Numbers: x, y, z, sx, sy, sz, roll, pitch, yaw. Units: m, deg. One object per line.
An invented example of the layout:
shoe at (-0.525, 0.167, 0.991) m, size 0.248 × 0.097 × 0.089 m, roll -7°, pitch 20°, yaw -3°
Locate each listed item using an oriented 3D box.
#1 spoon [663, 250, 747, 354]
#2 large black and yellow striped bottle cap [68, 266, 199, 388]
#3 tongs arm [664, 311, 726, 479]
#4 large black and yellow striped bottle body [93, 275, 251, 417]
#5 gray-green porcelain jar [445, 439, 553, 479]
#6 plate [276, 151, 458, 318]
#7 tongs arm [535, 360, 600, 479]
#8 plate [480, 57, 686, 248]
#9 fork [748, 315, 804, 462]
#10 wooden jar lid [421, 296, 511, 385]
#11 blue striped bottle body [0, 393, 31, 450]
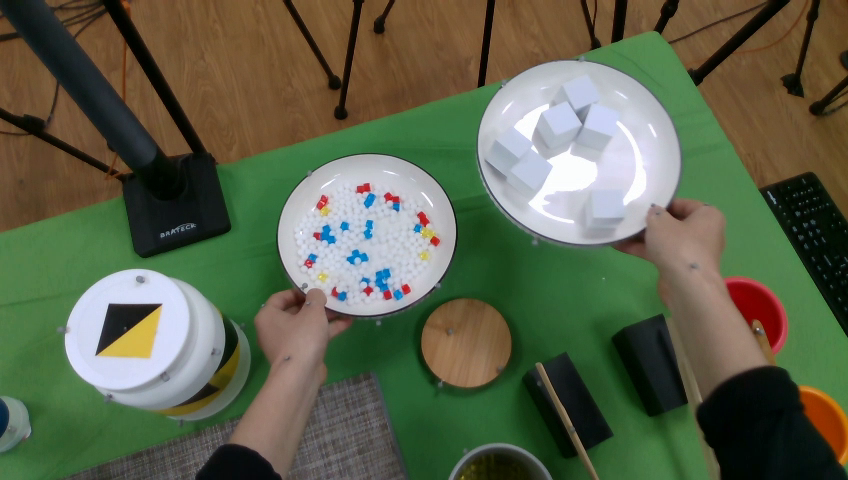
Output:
spoon at (0.318, 0.069, 0.682) m, size 0.195 × 0.021 × 0.041 m, roll 44°, pitch 76°, yaw -31°
large black and yellow striped bottle cap at (-0.271, 0.080, 0.567) m, size 0.115 × 0.019 × 0.114 m, roll 0°, pitch 70°, yaw 0°
tongs arm at (0.302, 0.266, 0.633) m, size 0.028 × 0.028 × 0.385 m, roll -8°, pitch 79°, yaw -10°
large black and yellow striped bottle body at (-0.271, 0.113, 0.644) m, size 0.131 × 0.185 × 0.130 m, roll 0°, pitch 68°, yaw 0°
gray-green porcelain jar at (0.071, 0.261, 0.617) m, size 0.106 × 0.127 × 0.105 m, roll 0°, pitch 68°, yaw 0°
plate at (-0.065, -0.007, 0.705) m, size 0.209 × 0.038 × 0.207 m, roll 0°, pitch 67°, yaw -1°
tongs arm at (0.221, 0.292, 0.623) m, size 0.051 × 0.026 × 0.383 m, roll -23°, pitch 81°, yaw -9°
plate at (0.158, -0.088, 0.620) m, size 0.208 × 0.039 × 0.206 m, roll 1°, pitch 74°, yaw -2°
fork at (0.373, 0.160, 0.643) m, size 0.028 × 0.018 × 0.209 m, roll -29°, pitch 115°, yaw -1°
wooden jar lid at (0.050, 0.121, 0.729) m, size 0.108 × 0.021 × 0.107 m, roll 0°, pitch 70°, yaw 0°
blue striped bottle body at (-0.488, 0.189, 0.648) m, size 0.063 × 0.121 × 0.062 m, roll 0°, pitch 68°, yaw 0°
